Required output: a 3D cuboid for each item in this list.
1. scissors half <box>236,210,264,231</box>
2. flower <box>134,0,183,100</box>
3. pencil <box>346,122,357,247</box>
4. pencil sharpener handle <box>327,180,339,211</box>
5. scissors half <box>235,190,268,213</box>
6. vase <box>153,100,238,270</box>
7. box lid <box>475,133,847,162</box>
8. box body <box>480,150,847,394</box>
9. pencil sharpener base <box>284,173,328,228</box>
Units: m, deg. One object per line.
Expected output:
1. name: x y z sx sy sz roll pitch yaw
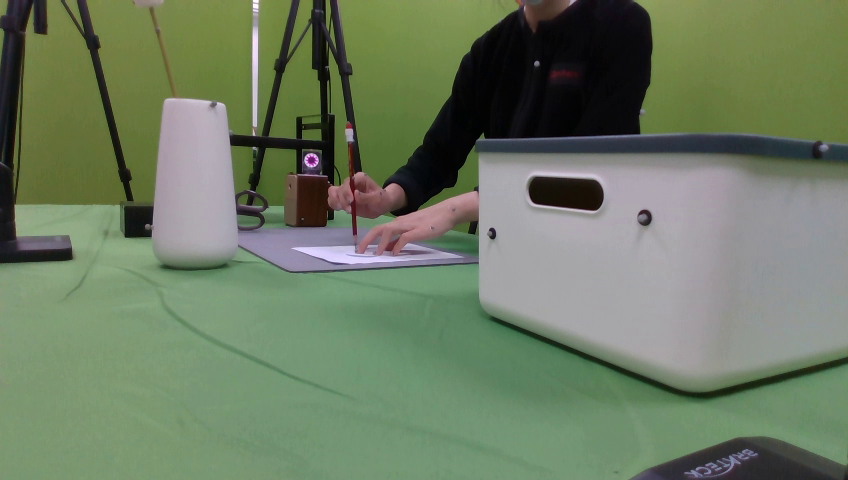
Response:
1. scissors half: -0.369 -0.051 1.065 0.176 0.040 0.012 19 13 -27
2. flower: -0.282 -0.147 0.713 0.038 0.362 0.044 -23 24 -31
3. pencil: -0.112 -0.086 0.940 0.012 0.194 0.012 -3 -1 0
4. pencil sharpener handle: -0.194 -0.095 1.256 0.031 0.067 0.036 -2 -6 -36
5. scissors half: -0.363 -0.070 1.060 0.176 0.040 0.013 0 16 -23
6. vase: -0.278 -0.066 0.736 0.098 0.200 0.098 2 9 0
7. box lid: 0.256 -0.073 0.528 0.373 0.015 0.262 -2 8 -31
8. box body: 0.254 0.002 0.539 0.366 0.160 0.253 -2 8 -31
9. pencil sharpener base: -0.239 -0.081 1.231 0.077 0.107 0.061 -2 8 -36
